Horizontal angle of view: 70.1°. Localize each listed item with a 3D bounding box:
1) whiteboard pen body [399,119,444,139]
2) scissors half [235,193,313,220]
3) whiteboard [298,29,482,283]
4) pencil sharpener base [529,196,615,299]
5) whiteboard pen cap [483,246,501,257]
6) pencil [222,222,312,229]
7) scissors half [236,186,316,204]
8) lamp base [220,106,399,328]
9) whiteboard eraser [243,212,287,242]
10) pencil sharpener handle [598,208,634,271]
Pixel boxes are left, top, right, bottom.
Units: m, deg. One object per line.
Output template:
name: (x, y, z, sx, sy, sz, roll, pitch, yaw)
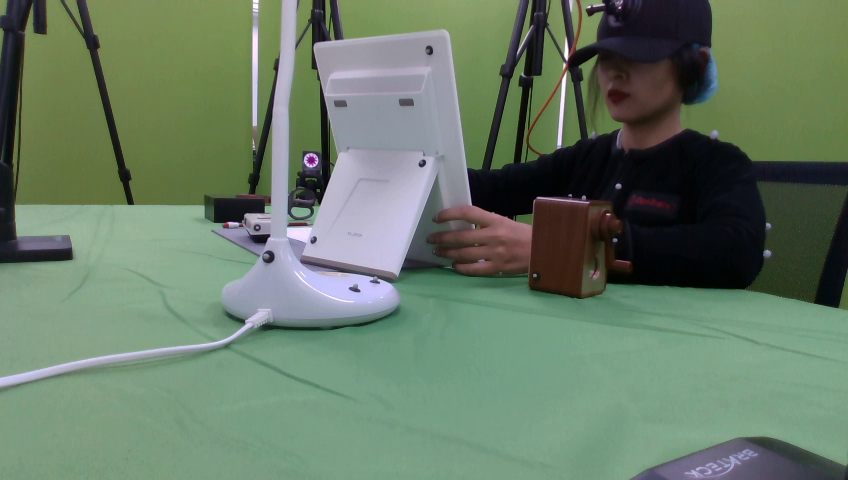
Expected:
whiteboard pen body: (-0.003, -0.151, 0.828, 0.017, 0.017, 0.141, 6, 18, 22)
scissors half: (-0.325, -0.077, 1.320, 0.176, 0.040, 0.012, 17, 8, -32)
whiteboard: (-0.074, -0.082, 0.742, 0.216, 0.305, 0.144, 9, 29, 37)
pencil sharpener base: (0.168, 0.007, 0.678, 0.076, 0.107, 0.062, 10, 10, 42)
whiteboard pen cap: (0.104, 0.017, 0.936, 0.018, 0.018, 0.033, -1, 3, -22)
pencil: (-0.302, -0.030, 1.189, 0.195, 0.012, 0.012, -2, 9, -42)
scissors half: (-0.320, -0.096, 1.316, 0.176, 0.040, 0.013, -4, 13, -29)
lamp base: (-0.101, -0.023, 0.531, 0.160, 0.180, 0.179, 4, 10, 10)
whiteboard eraser: (-0.260, -0.021, 0.982, 0.056, 0.042, 0.112, 0, 8, -23)
pencil sharpener handle: (0.208, 0.000, 0.644, 0.030, 0.068, 0.036, 10, 23, 42)
